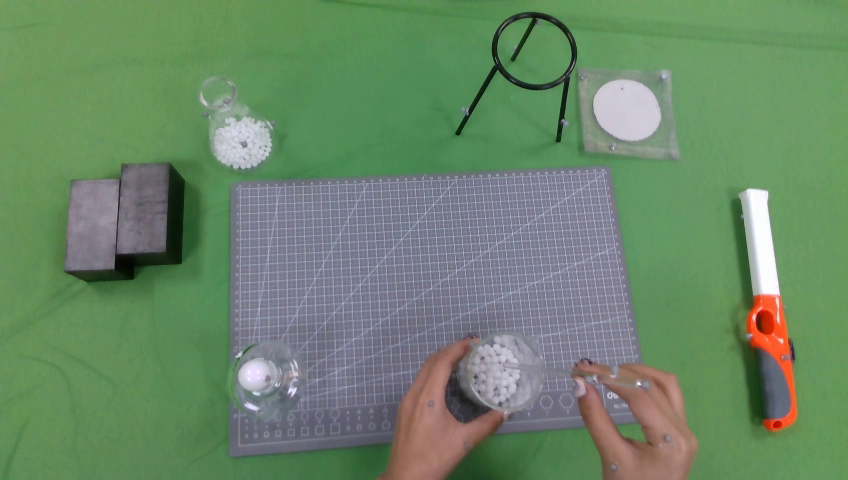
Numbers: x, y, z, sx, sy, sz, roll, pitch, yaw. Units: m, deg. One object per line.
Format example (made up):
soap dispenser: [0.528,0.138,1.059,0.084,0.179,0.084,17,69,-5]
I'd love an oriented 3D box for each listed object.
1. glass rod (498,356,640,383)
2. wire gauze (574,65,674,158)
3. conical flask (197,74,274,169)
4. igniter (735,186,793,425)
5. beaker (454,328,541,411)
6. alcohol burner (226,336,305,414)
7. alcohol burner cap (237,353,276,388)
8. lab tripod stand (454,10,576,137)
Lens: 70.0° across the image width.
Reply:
glass rod: [0.109,0.104,0.500,0.008,0.199,0.008,3,82,-20]
wire gauze: [0.252,-0.164,0.760,0.125,0.011,0.121,3,75,-6]
conical flask: [-0.210,-0.132,0.655,0.075,0.122,0.075,1,74,-4]
igniter: [0.391,0.070,0.699,0.057,0.025,0.275,5,75,-14]
beaker: [0.073,0.129,0.617,0.084,0.100,0.074,-42,84,-13]
alcohol burner: [-0.158,0.130,0.591,0.078,0.119,0.077,1,74,-2]
alcohol burner cap: [-0.155,0.120,0.557,0.034,0.048,0.033,2,78,-8]
lab tripod stand: [0.106,-0.180,0.688,0.148,0.132,0.147,1,77,-4]
